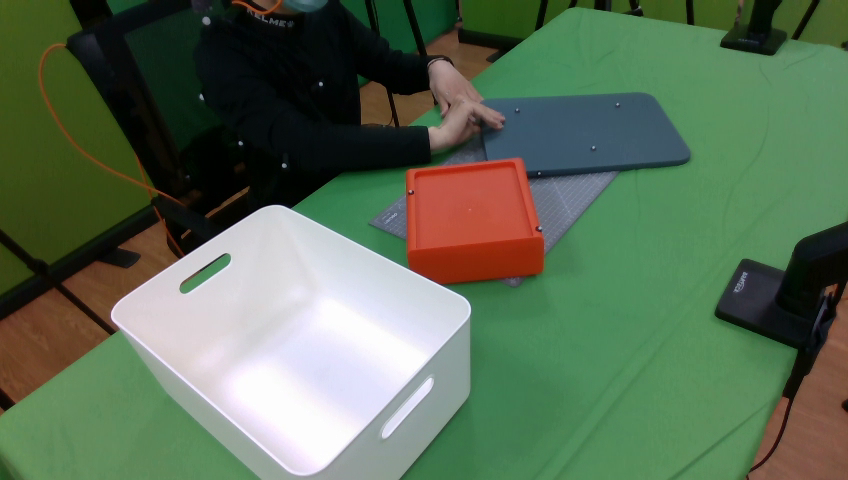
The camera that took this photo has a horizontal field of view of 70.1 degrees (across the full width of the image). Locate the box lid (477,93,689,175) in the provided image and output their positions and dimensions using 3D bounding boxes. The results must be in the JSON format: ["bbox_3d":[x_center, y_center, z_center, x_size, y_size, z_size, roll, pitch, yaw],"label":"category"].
[{"bbox_3d":[0.292,-0.210,1.173,0.372,0.015,0.262,-3,42,-1],"label":"box lid"}]

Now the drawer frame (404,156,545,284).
[{"bbox_3d":[0.073,-0.036,0.953,0.202,0.083,0.212,-6,41,1],"label":"drawer frame"}]

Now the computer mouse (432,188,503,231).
[{"bbox_3d":[0.071,-0.051,0.994,0.117,0.041,0.062,-10,44,6],"label":"computer mouse"}]

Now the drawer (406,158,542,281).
[{"bbox_3d":[0.072,-0.037,0.957,0.194,0.073,0.210,-5,41,1],"label":"drawer"}]

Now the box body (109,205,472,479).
[{"bbox_3d":[-0.147,0.135,0.726,0.361,0.161,0.255,25,50,32],"label":"box body"}]
